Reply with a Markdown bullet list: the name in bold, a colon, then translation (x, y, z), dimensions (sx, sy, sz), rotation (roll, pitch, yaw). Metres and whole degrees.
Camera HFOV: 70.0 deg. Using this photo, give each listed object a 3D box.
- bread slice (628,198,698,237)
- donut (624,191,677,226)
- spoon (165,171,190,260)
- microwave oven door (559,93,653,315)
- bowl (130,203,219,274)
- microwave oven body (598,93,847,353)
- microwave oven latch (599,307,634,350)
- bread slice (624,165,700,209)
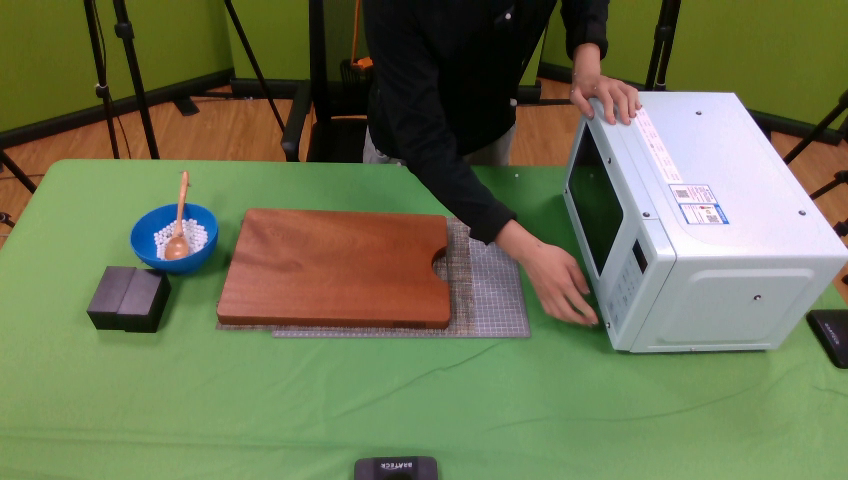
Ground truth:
- **bread slice**: translation (0.471, -0.045, 1.196), dimensions (0.131, 0.019, 0.104), rotation (6, 40, 10)
- **donut**: translation (0.438, -0.062, 1.173), dimensions (0.099, 0.048, 0.098), rotation (-6, 29, 4)
- **spoon**: translation (-0.452, -0.046, 1.129), dimensions (0.041, 0.022, 0.193), rotation (-2, 69, 0)
- **microwave oven door**: translation (0.327, -0.074, 1.123), dimensions (0.039, 0.245, 0.353), rotation (-1, 46, -5)
- **bowl**: translation (-0.450, 0.010, 1.116), dimensions (0.151, 0.077, 0.150), rotation (3, 45, -3)
- **microwave oven body**: translation (0.476, -0.042, 1.109), dimensions (0.326, 0.261, 0.438), rotation (-1, 45, -4)
- **microwave oven latch**: translation (0.330, 0.152, 1.045), dimensions (0.030, 0.029, 0.078), rotation (-4, 46, -7)
- **bread slice**: translation (0.452, -0.099, 1.144), dimensions (0.135, 0.018, 0.106), rotation (4, 42, -20)
